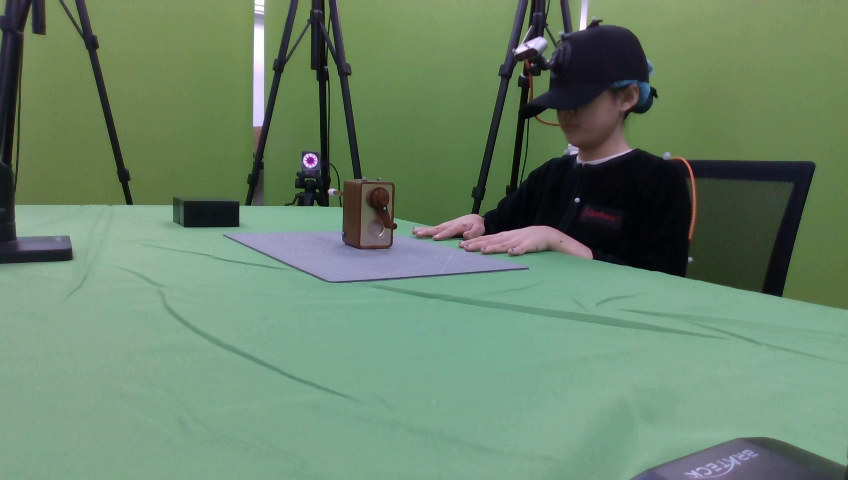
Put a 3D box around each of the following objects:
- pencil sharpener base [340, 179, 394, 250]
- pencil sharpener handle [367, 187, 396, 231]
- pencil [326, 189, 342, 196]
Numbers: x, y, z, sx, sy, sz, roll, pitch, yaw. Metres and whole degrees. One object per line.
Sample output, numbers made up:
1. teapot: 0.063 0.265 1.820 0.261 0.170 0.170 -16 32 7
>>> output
1. pencil sharpener base: -0.091 -0.041 0.959 0.061 0.107 0.076 -1 9 -30
2. pencil sharpener handle: -0.060 -0.047 0.916 0.036 0.068 0.030 -22 19 -25
3. pencil: -0.129 -0.077 1.027 0.012 0.012 0.193 -1 8 -29
